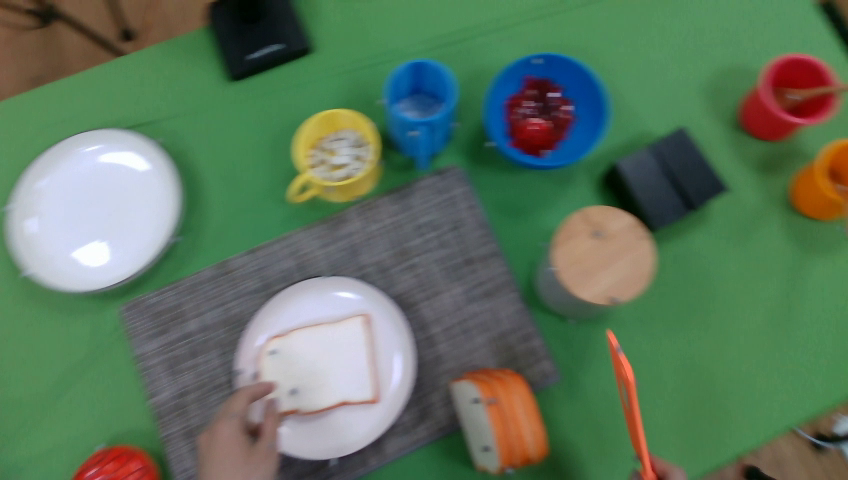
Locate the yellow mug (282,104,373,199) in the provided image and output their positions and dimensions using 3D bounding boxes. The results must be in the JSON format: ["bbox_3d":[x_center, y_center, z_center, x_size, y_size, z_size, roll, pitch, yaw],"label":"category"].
[{"bbox_3d":[-0.127,-0.100,0.755,0.099,0.064,0.131,43,80,10],"label":"yellow mug"}]

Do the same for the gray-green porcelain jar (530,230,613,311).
[{"bbox_3d":[0.182,0.026,0.701,0.106,0.127,0.105,0,76,-1],"label":"gray-green porcelain jar"}]

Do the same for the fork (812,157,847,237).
[{"bbox_3d":[0.484,-0.055,0.715,0.028,0.019,0.206,38,34,1],"label":"fork"}]

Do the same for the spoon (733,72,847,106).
[{"bbox_3d":[0.489,-0.195,0.751,0.192,0.022,0.041,1,65,45],"label":"spoon"}]

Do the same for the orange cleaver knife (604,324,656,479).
[{"bbox_3d":[0.206,0.186,0.591,0.012,0.077,0.212,-15,101,5],"label":"orange cleaver knife"}]

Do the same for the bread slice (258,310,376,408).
[{"bbox_3d":[-0.127,0.144,0.710,0.132,0.019,0.104,-10,76,-7],"label":"bread slice"}]

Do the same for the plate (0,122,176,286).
[{"bbox_3d":[-0.409,-0.043,0.750,0.208,0.039,0.206,0,77,-1],"label":"plate"}]

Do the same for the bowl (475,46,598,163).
[{"bbox_3d":[0.136,-0.158,0.769,0.151,0.077,0.150,0,77,-1],"label":"bowl"}]

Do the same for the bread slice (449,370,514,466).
[{"bbox_3d":[0.061,0.188,0.655,0.018,0.135,0.106,-16,75,-13],"label":"bread slice"}]

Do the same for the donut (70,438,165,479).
[{"bbox_3d":[-0.339,0.270,0.673,0.099,0.048,0.098,1,76,-3],"label":"donut"}]

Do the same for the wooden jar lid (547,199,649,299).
[{"bbox_3d":[0.182,0.010,0.640,0.108,0.021,0.108,1,77,-3],"label":"wooden jar lid"}]

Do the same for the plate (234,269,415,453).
[{"bbox_3d":[-0.113,0.138,0.708,0.209,0.038,0.208,0,76,0],"label":"plate"}]

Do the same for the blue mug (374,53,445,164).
[{"bbox_3d":[-0.016,-0.152,0.751,0.082,0.106,0.116,-4,76,-2],"label":"blue mug"}]
